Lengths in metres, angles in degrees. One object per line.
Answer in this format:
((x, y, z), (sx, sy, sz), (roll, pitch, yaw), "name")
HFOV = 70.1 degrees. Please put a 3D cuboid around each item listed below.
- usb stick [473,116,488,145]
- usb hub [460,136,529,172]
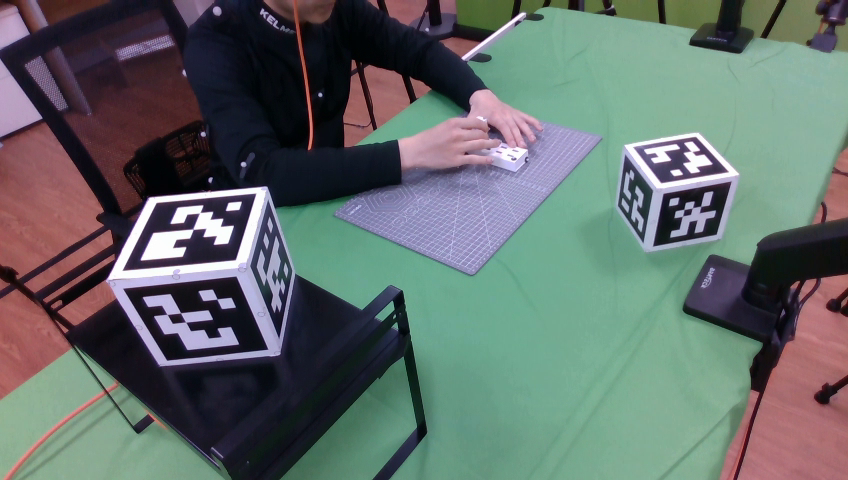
((0.106, -0.209, 1.127), (0.021, 0.059, 0.027), (9, 46, 4), "usb stick")
((0.132, -0.163, 1.138), (0.124, 0.025, 0.049), (21, 48, 30), "usb hub")
